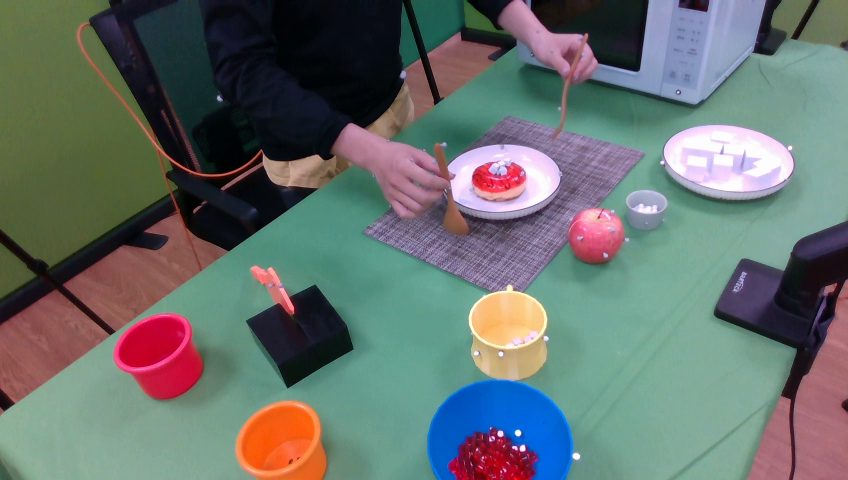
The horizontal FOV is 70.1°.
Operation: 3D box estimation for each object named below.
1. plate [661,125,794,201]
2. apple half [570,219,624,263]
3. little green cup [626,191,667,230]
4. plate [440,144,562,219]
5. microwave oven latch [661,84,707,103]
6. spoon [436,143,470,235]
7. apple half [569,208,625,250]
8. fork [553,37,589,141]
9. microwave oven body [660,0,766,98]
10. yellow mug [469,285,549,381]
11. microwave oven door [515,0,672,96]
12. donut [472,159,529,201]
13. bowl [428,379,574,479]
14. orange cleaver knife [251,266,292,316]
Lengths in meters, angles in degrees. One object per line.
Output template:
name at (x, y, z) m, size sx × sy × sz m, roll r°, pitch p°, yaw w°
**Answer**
plate at (0.513, -0.128, 1.035) m, size 0.207 × 0.039 × 0.206 m, roll -4°, pitch 40°, yaw 4°
apple half at (0.250, 0.010, 0.885) m, size 0.081 × 0.081 × 0.033 m, roll 7°, pitch 38°, yaw 17°
little green cup at (0.352, -0.046, 0.963) m, size 0.061 × 0.039 × 0.061 m, roll -4°, pitch 40°, yaw 4°
plate at (0.134, -0.098, 1.051) m, size 0.209 × 0.038 × 0.208 m, roll -4°, pitch 40°, yaw 4°
microwave oven latch at (0.517, -0.296, 1.204) m, size 0.078 × 0.029 × 0.030 m, roll 27°, pitch 52°, yaw 35°
spoon at (0.037, -0.068, 0.876) m, size 0.041 × 0.195 × 0.021 m, roll 6°, pitch 50°, yaw 19°
apple half at (0.262, -0.014, 0.913) m, size 0.080 × 0.075 × 0.053 m, roll 4°, pitch 37°, yaw 20°
fork at (0.252, -0.256, 1.046) m, size 0.018 × 0.208 × 0.028 m, roll 16°, pitch 48°, yaw 11°
microwave oven body at (0.472, -0.513, 1.317) m, size 0.438 × 0.261 × 0.327 m, roll 26°, pitch 51°, yaw 34°
yellow mug at (0.112, 0.112, 0.792) m, size 0.100 × 0.064 × 0.130 m, roll 0°, pitch 40°, yaw 9°
microwave oven door at (0.343, -0.455, 1.259) m, size 0.353 × 0.245 × 0.039 m, roll 26°, pitch 51°, yaw 33°
donut at (0.132, -0.106, 1.043) m, size 0.099 × 0.048 × 0.098 m, roll -4°, pitch 38°, yaw 4°
bowl at (0.082, 0.233, 0.644) m, size 0.151 × 0.077 × 0.150 m, roll -4°, pitch 39°, yaw 4°
orange cleaver knife at (-0.221, 0.071, 0.873) m, size 0.012 × 0.077 × 0.210 m, roll -25°, pitch 11°, yaw -21°
